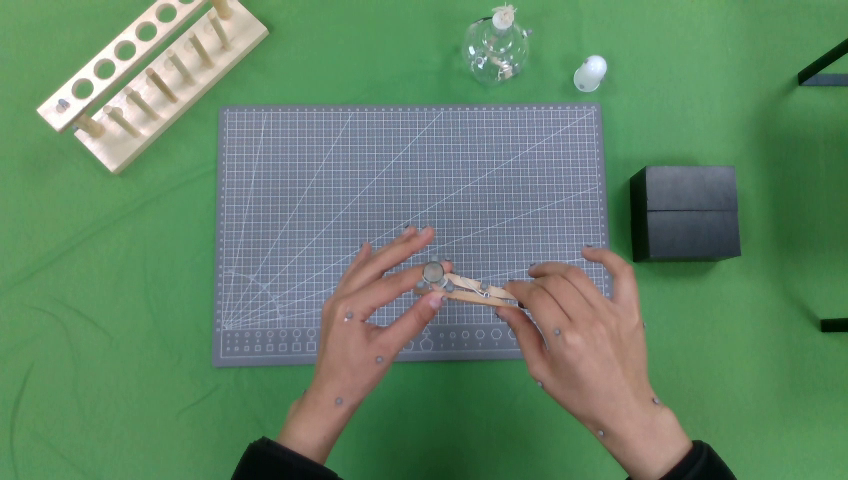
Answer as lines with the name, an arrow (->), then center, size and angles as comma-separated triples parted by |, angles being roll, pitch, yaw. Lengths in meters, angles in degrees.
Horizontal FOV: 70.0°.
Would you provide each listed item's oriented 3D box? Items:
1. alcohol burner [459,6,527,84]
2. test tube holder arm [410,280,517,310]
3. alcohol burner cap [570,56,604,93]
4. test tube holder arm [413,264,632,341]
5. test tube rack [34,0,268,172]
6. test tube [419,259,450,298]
alcohol burner -> 0.080, -0.223, 0.676 | 0.078, 0.119, 0.077 | 1, 80, -3
test tube holder arm -> 0.032, 0.045, 0.491 | 0.087, 0.015, 0.010 | 9, 82, 7
alcohol burner cap -> 0.194, -0.197, 0.712 | 0.034, 0.048, 0.033 | 0, 81, -2
test tube holder arm -> 0.077, 0.049, 0.486 | 0.178, 0.015, 0.013 | 15, 83, 7
test tube rack -> -0.293, -0.192, 0.671 | 0.066, 0.085, 0.242 | 44, 83, 5
test tube -> 0.010, 0.033, 0.479 | 0.017, 0.151, 0.017 | -1, 80, 5
